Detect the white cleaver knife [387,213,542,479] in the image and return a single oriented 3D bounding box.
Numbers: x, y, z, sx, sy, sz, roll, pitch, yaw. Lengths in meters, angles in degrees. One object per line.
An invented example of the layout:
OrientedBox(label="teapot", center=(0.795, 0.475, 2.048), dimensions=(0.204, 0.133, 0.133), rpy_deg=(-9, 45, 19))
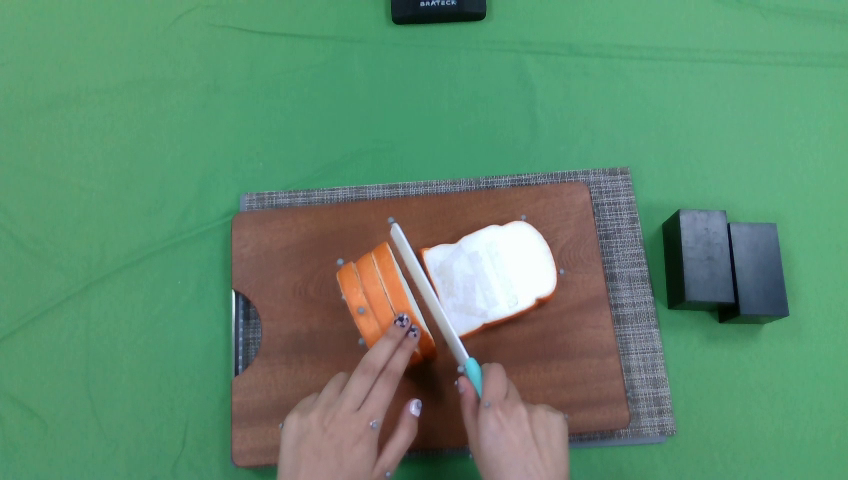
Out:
OrientedBox(label="white cleaver knife", center=(0.033, 0.099, 0.567), dimensions=(0.021, 0.066, 0.285), rpy_deg=(-25, 78, -10))

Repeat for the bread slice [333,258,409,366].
OrientedBox(label="bread slice", center=(-0.052, 0.068, 0.578), dimensions=(0.019, 0.132, 0.104), rpy_deg=(-28, 74, 0))

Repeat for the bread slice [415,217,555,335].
OrientedBox(label="bread slice", center=(0.069, 0.034, 0.640), dimensions=(0.134, 0.018, 0.106), rpy_deg=(-17, 78, -1))
